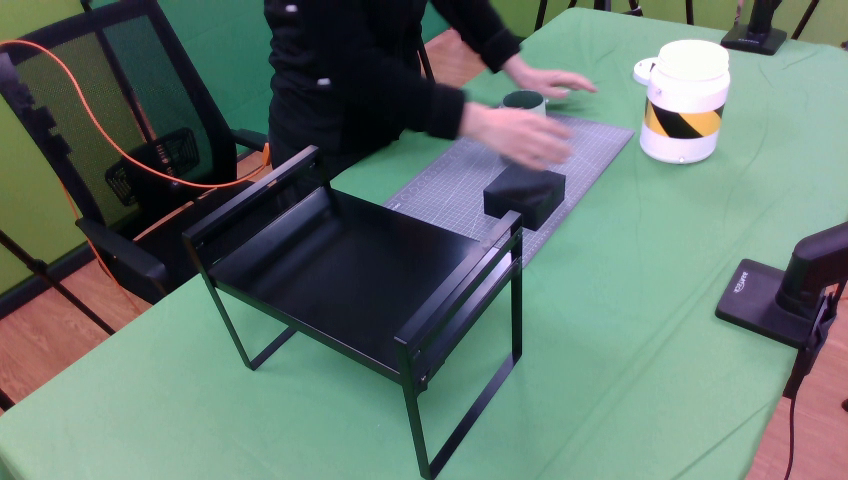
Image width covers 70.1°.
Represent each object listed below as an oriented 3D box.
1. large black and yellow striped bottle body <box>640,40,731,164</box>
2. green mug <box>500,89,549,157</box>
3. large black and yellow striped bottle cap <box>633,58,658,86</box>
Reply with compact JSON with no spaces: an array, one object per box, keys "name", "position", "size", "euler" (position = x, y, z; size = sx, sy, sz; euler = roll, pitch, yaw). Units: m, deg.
[{"name":"large black and yellow striped bottle body","position":[0.459,-0.242,1.064],"size":[0.131,0.185,0.130],"euler":[-4,41,4]},{"name":"green mug","position":[0.196,-0.228,1.145],"size":[0.092,0.105,0.125],"euler":[15,45,25]},{"name":"large black and yellow striped bottle cap","position":[0.522,-0.370,1.332],"size":[0.115,0.019,0.114],"euler":[-3,41,3]}]
